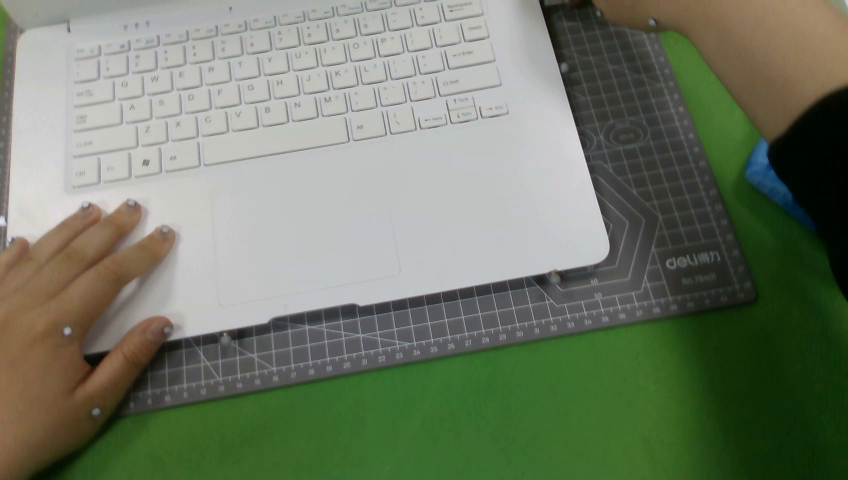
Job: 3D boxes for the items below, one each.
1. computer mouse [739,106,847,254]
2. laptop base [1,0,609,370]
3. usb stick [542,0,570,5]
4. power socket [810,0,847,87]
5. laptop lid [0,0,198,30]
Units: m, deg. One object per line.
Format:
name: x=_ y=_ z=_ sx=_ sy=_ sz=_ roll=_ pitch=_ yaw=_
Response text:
computer mouse: x=0.251 y=-0.033 z=0.356 sx=0.116 sy=0.041 sz=0.063 roll=41 pitch=78 yaw=20
laptop base: x=-0.084 y=-0.063 z=0.387 sx=0.354 sy=0.023 sz=0.234 roll=-10 pitch=73 yaw=-2
usb stick: x=0.094 y=-0.178 z=0.411 sx=0.059 sy=0.027 sz=0.021 roll=-11 pitch=70 yaw=6
power socket: x=0.306 y=-0.146 z=0.398 sx=0.072 sy=0.033 sz=0.225 roll=-7 pitch=69 yaw=0
laptop lid: x=-0.114 y=-0.236 z=0.327 sx=0.357 sy=0.244 sz=0.013 roll=-11 pitch=57 yaw=-1
